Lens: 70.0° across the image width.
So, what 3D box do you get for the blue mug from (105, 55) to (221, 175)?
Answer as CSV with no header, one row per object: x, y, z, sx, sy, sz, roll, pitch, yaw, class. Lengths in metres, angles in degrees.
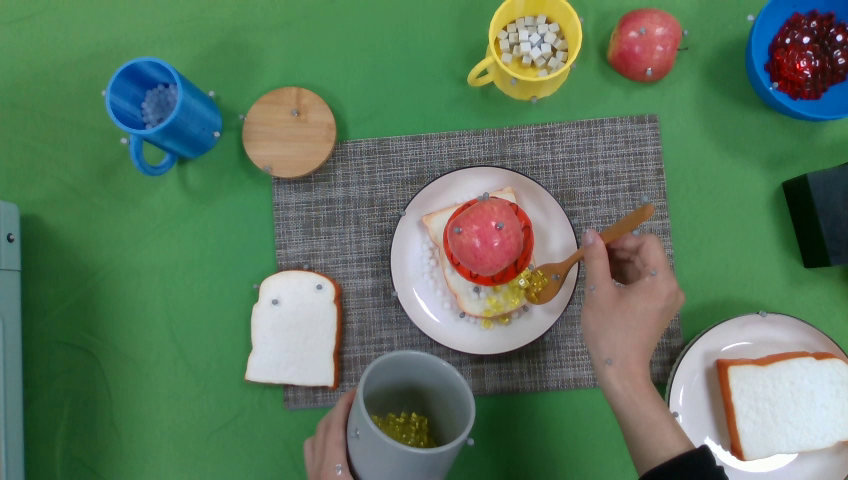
-0.288,-0.128,0.668,0.082,0.106,0.116,16,86,4,blue mug

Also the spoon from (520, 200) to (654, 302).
0.146,0.013,0.570,0.022,0.194,0.041,1,65,-22,spoon

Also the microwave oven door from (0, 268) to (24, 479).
-0.474,0.199,0.566,0.039,0.244,0.355,-5,85,3,microwave oven door

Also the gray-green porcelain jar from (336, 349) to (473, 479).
-0.023,0.181,0.562,0.106,0.105,0.127,24,128,5,gray-green porcelain jar

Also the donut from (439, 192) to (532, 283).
0.066,-0.002,0.644,0.099,0.048,0.099,0,86,3,donut

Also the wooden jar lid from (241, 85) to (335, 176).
-0.156,-0.125,0.702,0.108,0.021,0.108,0,82,4,wooden jar lid

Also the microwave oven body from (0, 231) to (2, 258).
-0.621,0.168,0.580,0.326,0.260,0.440,-4,86,2,microwave oven body

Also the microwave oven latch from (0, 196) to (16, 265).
-0.482,-0.011,0.683,0.030,0.029,0.079,-1,86,2,microwave oven latch

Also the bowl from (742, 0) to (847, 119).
0.410,-0.196,0.654,0.151,0.077,0.151,0,86,3,bowl

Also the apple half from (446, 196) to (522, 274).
0.061,-0.006,0.609,0.081,0.033,0.081,-1,84,10,apple half

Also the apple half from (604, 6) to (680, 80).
0.246,-0.226,0.677,0.074,0.053,0.080,18,87,7,apple half

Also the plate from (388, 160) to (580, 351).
0.064,0.017,0.671,0.207,0.039,0.207,0,86,3,plate

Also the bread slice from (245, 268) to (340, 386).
-0.147,0.097,0.686,0.105,0.019,0.131,3,87,2,bread slice

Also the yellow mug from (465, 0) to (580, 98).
0.104,-0.210,0.676,0.131,0.064,0.099,-29,85,1,yellow mug

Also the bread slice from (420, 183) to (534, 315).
0.069,0.014,0.672,0.107,0.018,0.134,-22,85,1,bread slice

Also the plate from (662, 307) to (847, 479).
0.357,0.176,0.648,0.209,0.038,0.208,0,85,3,plate
